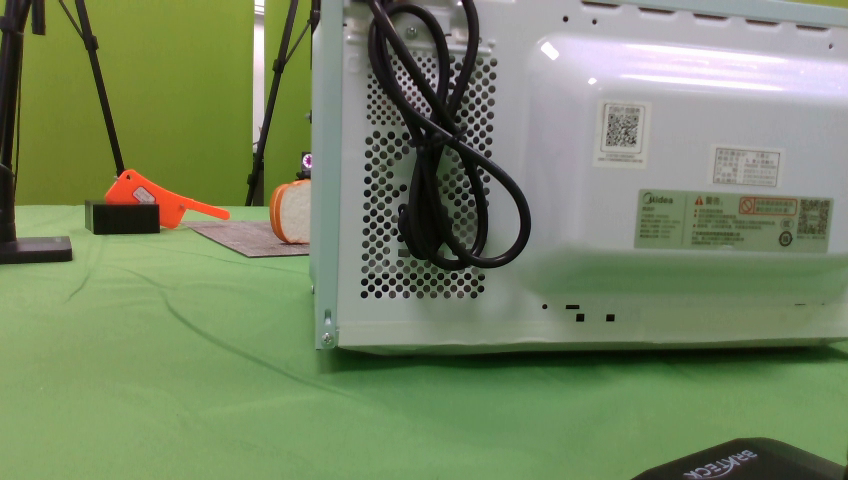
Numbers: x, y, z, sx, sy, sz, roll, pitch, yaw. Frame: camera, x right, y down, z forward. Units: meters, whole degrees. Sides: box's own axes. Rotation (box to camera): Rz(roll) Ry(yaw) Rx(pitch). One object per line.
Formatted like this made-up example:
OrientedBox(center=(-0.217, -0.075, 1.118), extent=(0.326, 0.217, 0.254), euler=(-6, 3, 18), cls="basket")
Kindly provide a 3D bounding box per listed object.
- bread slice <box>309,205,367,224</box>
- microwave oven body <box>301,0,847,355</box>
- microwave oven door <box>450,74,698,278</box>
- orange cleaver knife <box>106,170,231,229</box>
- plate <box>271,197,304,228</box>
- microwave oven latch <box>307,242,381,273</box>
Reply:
OrientedBox(center=(-0.165, -0.051, 1.170), extent=(0.107, 0.018, 0.134), euler=(-1, 12, -4), cls="bread slice")
OrientedBox(center=(0.120, -0.053, 0.535), extent=(0.443, 0.260, 0.325), euler=(2, 7, -11), cls="microwave oven body")
OrientedBox(center=(0.183, -0.094, 0.836), extent=(0.354, 0.243, 0.039), euler=(10, 10, 44), cls="microwave oven door")
OrientedBox(center=(-0.458, -0.060, 1.097), extent=(0.212, 0.077, 0.012), euler=(23, -4, -38), cls="orange cleaver knife")
OrientedBox(center=(-0.189, -0.051, 1.173), extent=(0.208, 0.039, 0.207), euler=(3, 12, 0), cls="plate")
OrientedBox(center=(-0.086, 0.019, 0.656), extent=(0.079, 0.029, 0.030), euler=(2, 7, -10), cls="microwave oven latch")
